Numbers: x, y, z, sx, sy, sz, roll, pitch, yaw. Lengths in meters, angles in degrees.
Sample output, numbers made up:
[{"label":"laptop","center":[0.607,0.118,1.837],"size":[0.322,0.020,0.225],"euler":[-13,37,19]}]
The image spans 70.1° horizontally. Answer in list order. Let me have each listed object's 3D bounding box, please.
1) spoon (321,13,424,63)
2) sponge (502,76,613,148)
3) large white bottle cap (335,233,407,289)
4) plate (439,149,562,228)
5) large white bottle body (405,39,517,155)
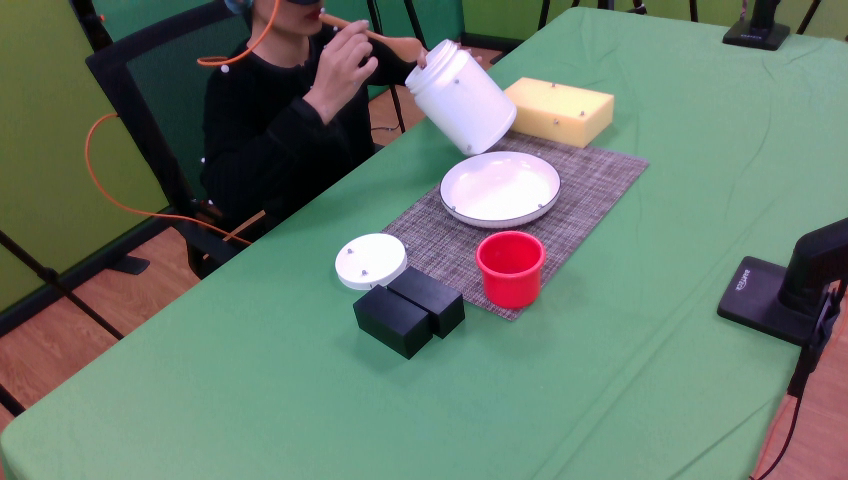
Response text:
[{"label":"spoon","center":[-0.080,-0.329,0.979],"size":[0.195,0.041,0.021],"euler":[10,31,-32]},{"label":"sponge","center":[0.254,-0.259,1.207],"size":[0.205,0.061,0.118],"euler":[22,47,31]},{"label":"large white bottle cap","center":[-0.085,0.032,0.961],"size":[0.115,0.018,0.114],"euler":[-6,41,6]},{"label":"plate","center":[0.131,-0.085,1.040],"size":[0.209,0.038,0.208],"euler":[-5,40,5]},{"label":"large white bottle body","center":[0.065,-0.261,1.106],"size":[0.130,0.185,0.130],"euler":[-40,21,19]}]
